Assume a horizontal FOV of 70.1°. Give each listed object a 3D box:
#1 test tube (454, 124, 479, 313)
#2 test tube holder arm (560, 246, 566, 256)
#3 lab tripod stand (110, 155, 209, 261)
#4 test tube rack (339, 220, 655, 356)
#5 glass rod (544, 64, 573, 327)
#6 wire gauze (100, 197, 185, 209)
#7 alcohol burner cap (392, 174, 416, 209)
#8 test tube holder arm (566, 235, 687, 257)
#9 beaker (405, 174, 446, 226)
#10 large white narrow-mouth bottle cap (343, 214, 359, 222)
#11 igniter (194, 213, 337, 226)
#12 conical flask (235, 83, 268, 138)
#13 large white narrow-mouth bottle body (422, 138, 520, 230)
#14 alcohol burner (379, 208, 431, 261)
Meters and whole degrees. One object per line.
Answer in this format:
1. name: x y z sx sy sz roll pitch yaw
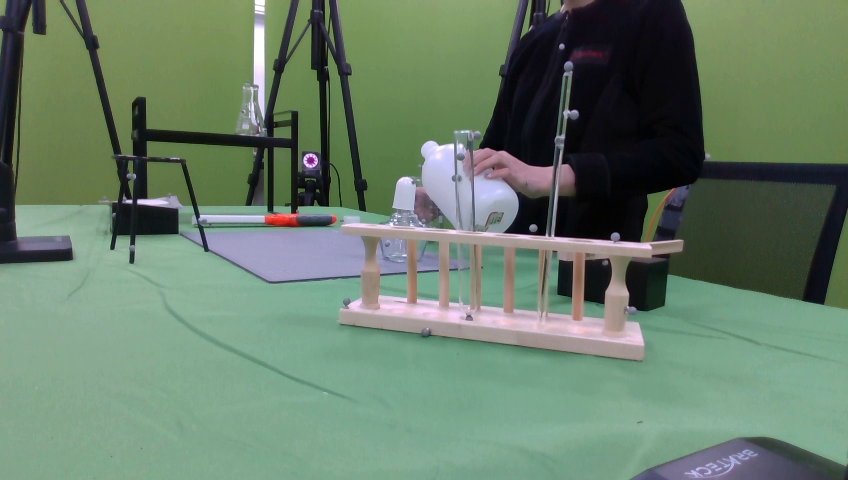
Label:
1. test tube: 0.034 -0.015 0.477 0.017 0.150 0.017 -2 9 1
2. test tube holder arm: 0.173 0.007 0.612 0.088 0.015 0.010 -3 8 -29
3. lab tripod stand: -0.361 -0.046 0.806 0.148 0.131 0.148 2 5 0
4. test tube rack: 0.056 0.032 0.495 0.242 0.085 0.067 4 7 15
5. glass rod: 0.101 -0.028 0.453 0.008 0.199 0.008 1 14 0
6. wire gauze: -0.469 -0.062 1.008 0.126 0.011 0.121 -2 8 -25
7. alcohol burner cap: -0.025 -0.067 0.834 0.034 0.048 0.034 8 7 -1
8. test tube holder arm: 0.215 0.006 0.630 0.179 0.015 0.013 -3 9 -31
9. beaker: 0.005 -0.064 1.059 0.074 0.100 0.083 0 4 -35
10. large white narrow-mouth bottle cap: -0.155 -0.043 1.282 0.038 0.024 0.037 2 8 0
11. igniter: -0.306 -0.041 1.197 0.278 0.025 0.057 -2 -2 -30
12. conical flask: -0.402 -0.299 1.406 0.075 0.122 0.075 2 7 0
13. large white narrow-mouth bottle body: 0.055 -0.093 0.922 0.102 0.101 0.193 -3 42 -36
14. alcohol burner: -0.027 -0.031 0.838 0.078 0.119 0.078 0 6 0
